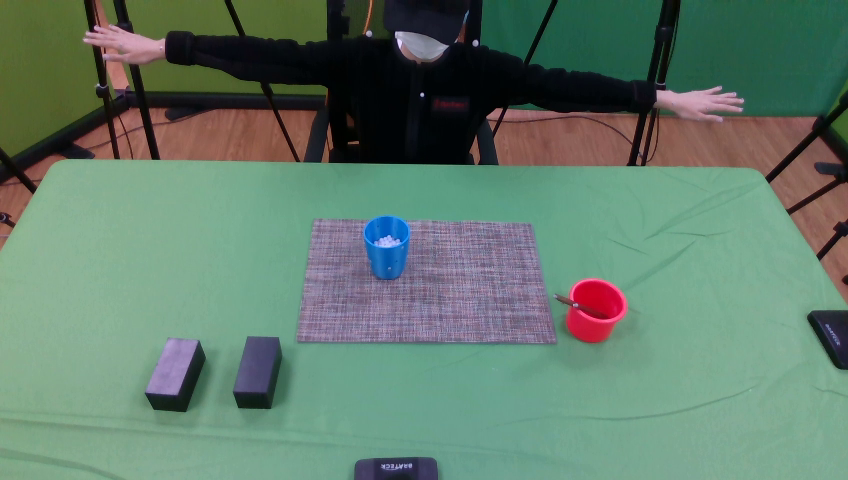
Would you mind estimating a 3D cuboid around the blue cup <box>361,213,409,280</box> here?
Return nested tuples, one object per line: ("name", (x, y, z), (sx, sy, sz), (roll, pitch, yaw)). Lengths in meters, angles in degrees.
("blue cup", (-0.070, 0.020, 1.114), (0.093, 0.101, 0.092), (1, 46, -1))

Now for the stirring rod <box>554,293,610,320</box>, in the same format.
("stirring rod", (0.271, 0.115, 1.030), (0.177, 0.006, 0.014), (22, 26, -43))
